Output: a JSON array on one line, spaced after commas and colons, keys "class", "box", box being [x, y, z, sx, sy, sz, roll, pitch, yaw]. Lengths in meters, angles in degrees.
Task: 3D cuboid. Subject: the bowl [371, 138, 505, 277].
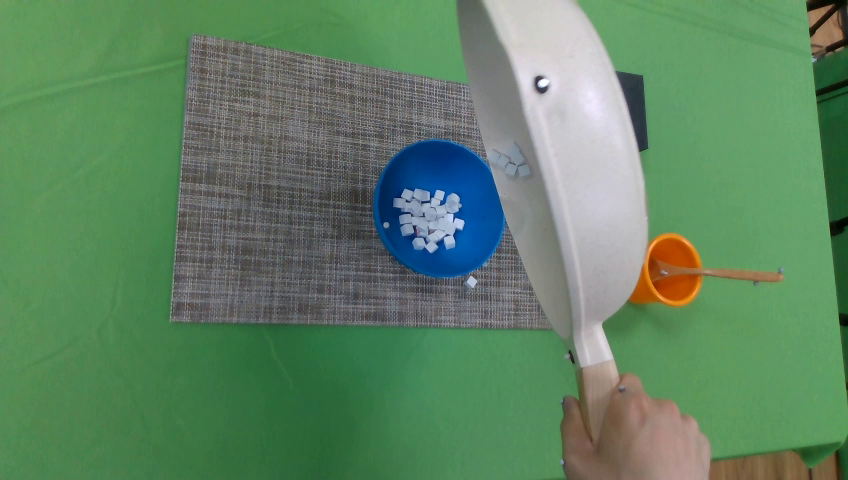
[{"class": "bowl", "box": [0.006, -0.030, 0.671, 0.152, 0.076, 0.151, 3, 81, -22]}]

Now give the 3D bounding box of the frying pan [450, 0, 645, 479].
[{"class": "frying pan", "box": [0.108, 0.033, 0.457, 0.103, 0.308, 0.485, -10, 77, 6]}]

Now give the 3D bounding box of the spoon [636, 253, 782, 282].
[{"class": "spoon", "box": [0.343, 0.039, 0.766, 0.022, 0.193, 0.041, 34, 63, -62]}]
